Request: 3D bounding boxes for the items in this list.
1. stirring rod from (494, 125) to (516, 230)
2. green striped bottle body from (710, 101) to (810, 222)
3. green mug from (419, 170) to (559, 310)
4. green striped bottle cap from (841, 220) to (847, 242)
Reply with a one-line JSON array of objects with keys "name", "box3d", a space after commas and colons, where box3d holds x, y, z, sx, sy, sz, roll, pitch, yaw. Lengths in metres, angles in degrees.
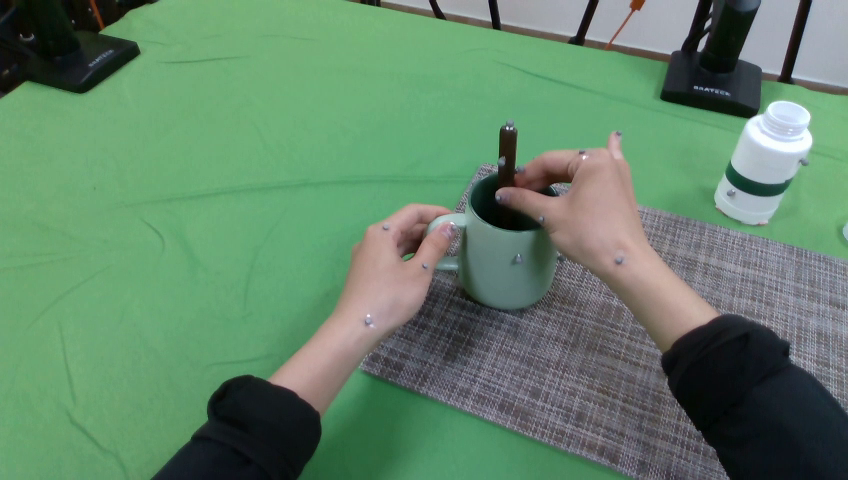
[{"name": "stirring rod", "box3d": [0.068, -0.033, 0.518, 0.014, 0.178, 0.006, 12, 57, 13]}, {"name": "green striped bottle body", "box3d": [0.342, -0.080, 0.614, 0.063, 0.120, 0.062, 0, 47, 0]}, {"name": "green mug", "box3d": [0.058, 0.003, 0.544, 0.125, 0.106, 0.091, -5, 47, -4]}, {"name": "green striped bottle cap", "box3d": [0.453, -0.008, 0.617, 0.044, 0.020, 0.044, 1, 43, 0]}]
